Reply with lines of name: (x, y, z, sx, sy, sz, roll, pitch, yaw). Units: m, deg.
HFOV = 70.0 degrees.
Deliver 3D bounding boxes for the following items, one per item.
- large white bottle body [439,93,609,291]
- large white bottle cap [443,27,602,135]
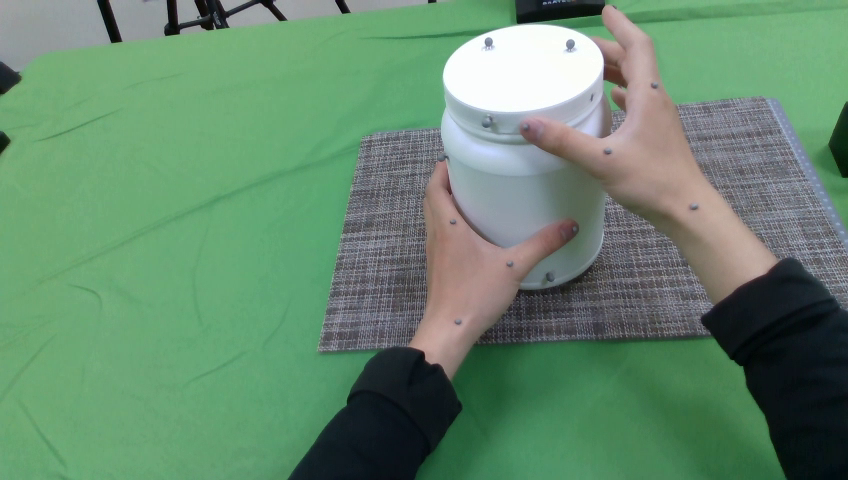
large white bottle body: (0.083, -0.060, 0.502, 0.130, 0.186, 0.129, -6, 46, 7)
large white bottle cap: (0.070, -0.118, 0.440, 0.115, 0.018, 0.113, -6, 47, 7)
